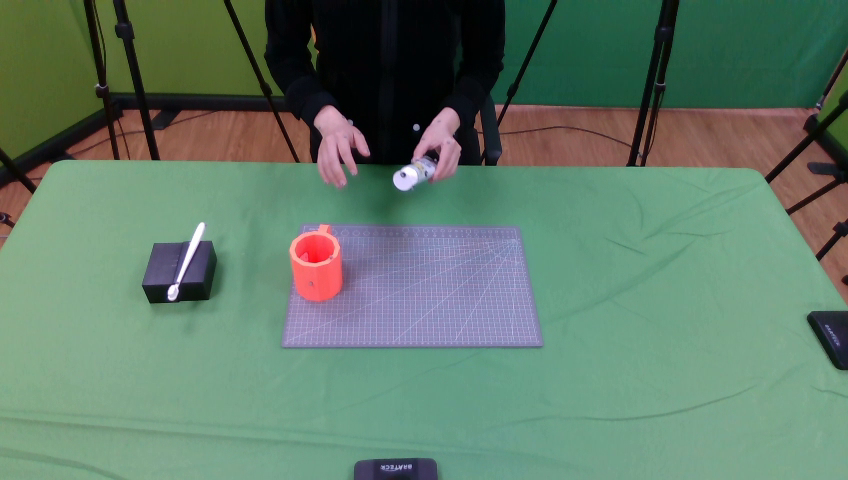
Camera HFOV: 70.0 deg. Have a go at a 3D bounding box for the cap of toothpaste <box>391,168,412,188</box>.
[{"bbox_3d":[-0.038,-0.107,1.031,0.037,0.037,0.011,14,30,9],"label":"cap of toothpaste"}]

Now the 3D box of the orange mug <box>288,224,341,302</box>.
[{"bbox_3d":[-0.192,0.034,1.094,0.083,0.101,0.125,7,50,2],"label":"orange mug"}]

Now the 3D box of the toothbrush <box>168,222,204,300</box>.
[{"bbox_3d":[-0.419,0.032,1.070,0.014,0.017,0.180,2,46,2],"label":"toothbrush"}]

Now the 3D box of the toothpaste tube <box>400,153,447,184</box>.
[{"bbox_3d":[-0.006,-0.131,1.102,0.055,0.034,0.165,36,28,7],"label":"toothpaste tube"}]
